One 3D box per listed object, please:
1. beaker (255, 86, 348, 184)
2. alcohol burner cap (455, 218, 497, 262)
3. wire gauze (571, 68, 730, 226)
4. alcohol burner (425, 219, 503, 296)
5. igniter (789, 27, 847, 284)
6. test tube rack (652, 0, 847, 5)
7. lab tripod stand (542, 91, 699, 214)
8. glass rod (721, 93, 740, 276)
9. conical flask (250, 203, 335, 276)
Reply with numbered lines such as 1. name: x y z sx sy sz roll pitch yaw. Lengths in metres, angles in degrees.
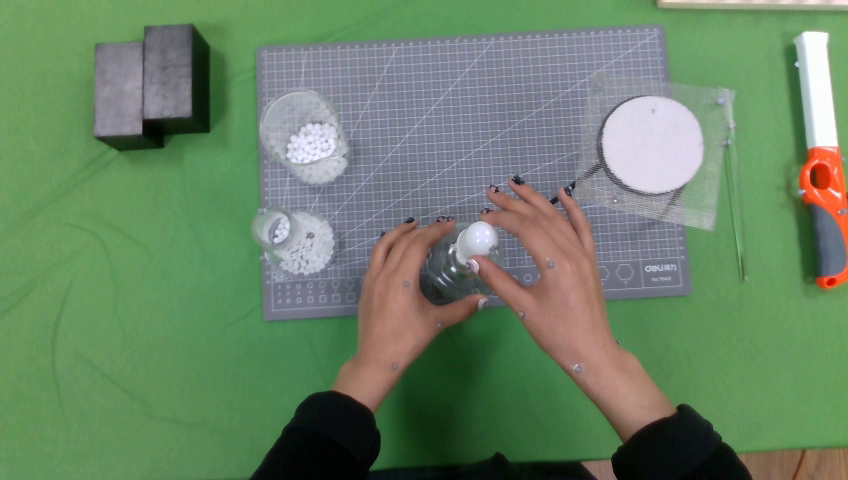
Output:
1. beaker: -0.115 -0.098 0.607 0.084 0.100 0.074 33 84 4
2. alcohol burner cap: 0.045 -0.002 0.505 0.034 0.048 0.033 2 78 -7
3. wire gauze: 0.194 -0.082 0.519 0.125 0.011 0.121 11 84 2
4. alcohol burner: 0.039 0.015 0.587 0.078 0.119 0.077 0 84 3
5. igniter: 0.421 -0.092 0.644 0.057 0.025 0.275 -1 83 -10
6. test tube rack: 0.376 -0.300 0.639 0.242 0.085 0.066 0 83 0
7. lab tripod stand: 0.191 -0.075 0.586 0.148 0.132 0.148 0 85 1
8. glass rod: 0.329 -0.061 0.650 0.008 0.008 0.199 -2 86 0
9. conical flask: -0.132 -0.006 0.585 0.075 0.122 0.075 0 83 0
